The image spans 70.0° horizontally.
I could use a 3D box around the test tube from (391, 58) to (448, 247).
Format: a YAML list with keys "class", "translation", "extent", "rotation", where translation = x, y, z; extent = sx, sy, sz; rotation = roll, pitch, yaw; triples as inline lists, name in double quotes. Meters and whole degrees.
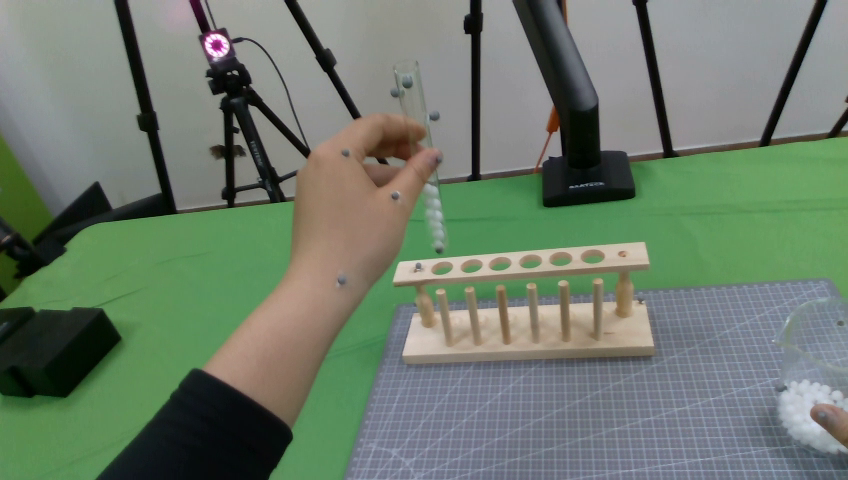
- class: "test tube"
  translation: [-0.001, -0.050, 0.401]
  extent: [0.017, 0.152, 0.017]
  rotation: [-6, 45, 6]

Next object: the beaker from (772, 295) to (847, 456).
- class: "beaker"
  translation: [0.299, 0.102, 0.445]
  extent: [0.084, 0.101, 0.073]
  rotation: [-6, 34, 16]

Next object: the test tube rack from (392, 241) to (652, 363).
- class: "test tube rack"
  translation: [0.093, 0.064, 0.596]
  extent: [0.242, 0.086, 0.066]
  rotation: [-5, 34, 14]
